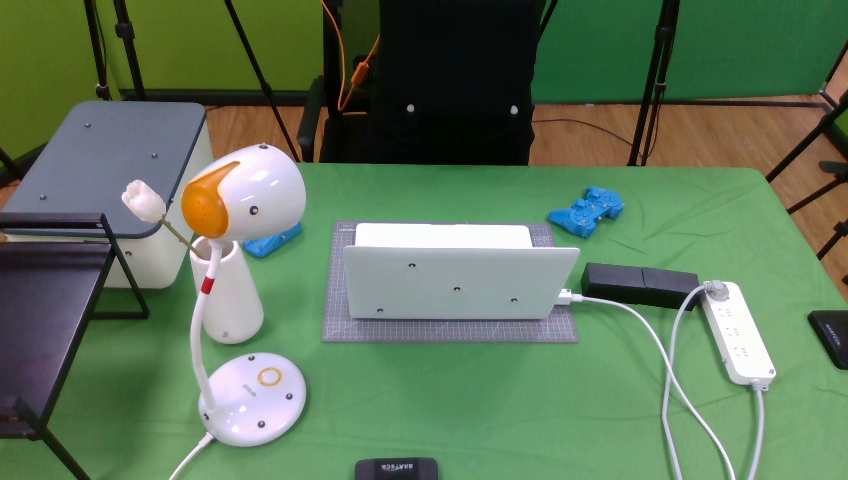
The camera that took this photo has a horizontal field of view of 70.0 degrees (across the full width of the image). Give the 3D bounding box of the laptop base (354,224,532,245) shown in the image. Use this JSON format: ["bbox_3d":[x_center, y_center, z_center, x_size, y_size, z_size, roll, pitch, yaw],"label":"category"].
[{"bbox_3d":[0.040,0.056,1.149,0.355,0.023,0.234,1,43,-4],"label":"laptop base"}]

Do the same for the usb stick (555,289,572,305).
[{"bbox_3d":[0.236,0.103,1.101,0.059,0.027,0.021,0,48,1],"label":"usb stick"}]

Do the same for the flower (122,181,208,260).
[{"bbox_3d":[-0.329,0.029,0.905,0.038,0.364,0.044,-21,58,-1],"label":"flower"}]

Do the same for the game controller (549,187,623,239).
[{"bbox_3d":[0.345,-0.065,1.272,0.155,0.052,0.096,-31,58,-29],"label":"game controller"}]

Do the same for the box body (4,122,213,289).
[{"bbox_3d":[-0.563,-0.088,1.139,0.254,0.161,0.361,2,46,-3],"label":"box body"}]

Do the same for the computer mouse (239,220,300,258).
[{"bbox_3d":[-0.300,-0.017,1.178,0.062,0.041,0.117,35,58,23],"label":"computer mouse"}]

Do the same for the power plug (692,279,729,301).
[{"bbox_3d":[0.522,0.092,1.115,0.072,0.053,0.035,8,46,7],"label":"power plug"}]

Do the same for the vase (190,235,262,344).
[{"bbox_3d":[-0.317,0.081,0.971,0.098,0.201,0.097,3,47,-3],"label":"vase"}]

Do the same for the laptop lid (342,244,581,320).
[{"bbox_3d":[0.051,0.074,0.969,0.357,0.243,0.013,1,56,-5],"label":"laptop lid"}]

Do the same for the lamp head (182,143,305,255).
[{"bbox_3d":[-0.216,-0.044,0.697,0.112,0.113,0.123,23,31,17],"label":"lamp head"}]

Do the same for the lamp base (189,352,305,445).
[{"bbox_3d":[-0.268,0.196,0.876,0.160,0.181,0.179,25,52,19],"label":"lamp base"}]

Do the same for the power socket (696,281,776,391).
[{"bbox_3d":[0.550,0.160,1.078,0.072,0.033,0.225,2,46,-1],"label":"power socket"}]

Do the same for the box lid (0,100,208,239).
[{"bbox_3d":[-0.559,-0.138,1.085,0.263,0.015,0.369,2,46,-2],"label":"box lid"}]
